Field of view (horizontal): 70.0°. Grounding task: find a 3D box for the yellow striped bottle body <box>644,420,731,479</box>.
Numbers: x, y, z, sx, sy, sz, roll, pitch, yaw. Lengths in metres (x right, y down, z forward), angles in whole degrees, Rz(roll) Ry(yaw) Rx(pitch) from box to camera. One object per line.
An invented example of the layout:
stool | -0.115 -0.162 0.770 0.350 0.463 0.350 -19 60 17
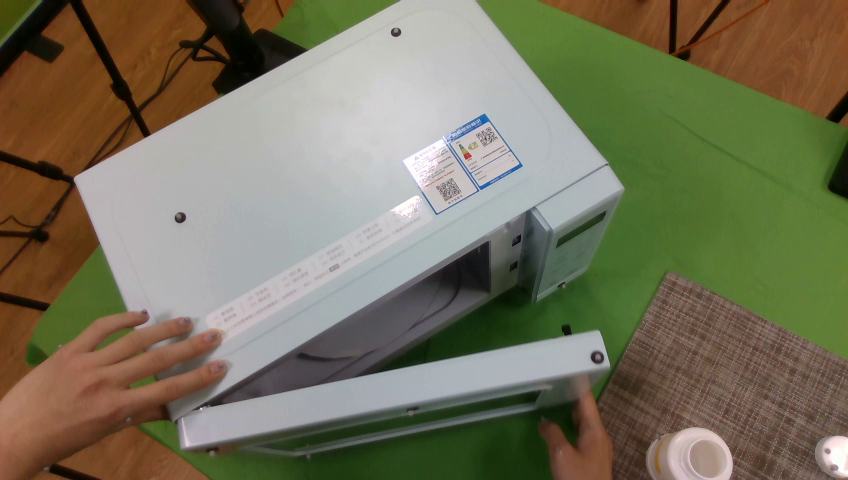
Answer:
yellow striped bottle body | 0.273 0.221 0.626 0.063 0.121 0.062 -2 69 6

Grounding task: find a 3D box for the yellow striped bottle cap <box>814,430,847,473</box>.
yellow striped bottle cap | 0.453 0.230 0.661 0.044 0.019 0.044 -3 68 7

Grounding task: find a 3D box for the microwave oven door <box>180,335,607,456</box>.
microwave oven door | -0.015 0.160 0.599 0.356 0.245 0.039 -11 68 2

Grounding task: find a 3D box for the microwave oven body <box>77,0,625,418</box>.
microwave oven body | -0.073 -0.027 0.680 0.442 0.262 0.323 -31 70 -5

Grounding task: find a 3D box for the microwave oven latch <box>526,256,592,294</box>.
microwave oven latch | 0.164 0.034 0.737 0.079 0.030 0.030 -29 70 -4
